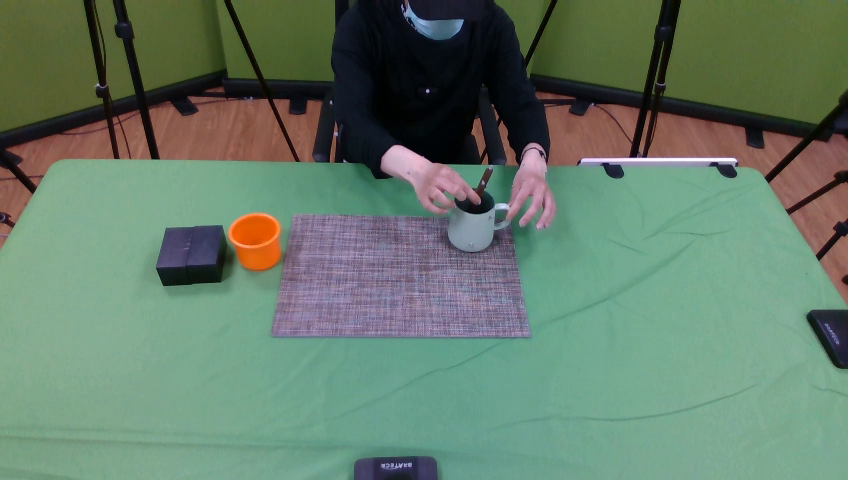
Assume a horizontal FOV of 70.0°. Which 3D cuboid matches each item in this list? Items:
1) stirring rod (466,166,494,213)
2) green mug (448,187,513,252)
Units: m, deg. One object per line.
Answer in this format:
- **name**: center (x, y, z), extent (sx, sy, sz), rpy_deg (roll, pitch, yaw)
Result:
- **stirring rod**: center (0.096, -0.074, 1.138), extent (0.014, 0.177, 0.006), rpy_deg (7, 48, -14)
- **green mug**: center (0.112, -0.041, 1.179), extent (0.125, 0.105, 0.092), rpy_deg (-7, 47, -10)
